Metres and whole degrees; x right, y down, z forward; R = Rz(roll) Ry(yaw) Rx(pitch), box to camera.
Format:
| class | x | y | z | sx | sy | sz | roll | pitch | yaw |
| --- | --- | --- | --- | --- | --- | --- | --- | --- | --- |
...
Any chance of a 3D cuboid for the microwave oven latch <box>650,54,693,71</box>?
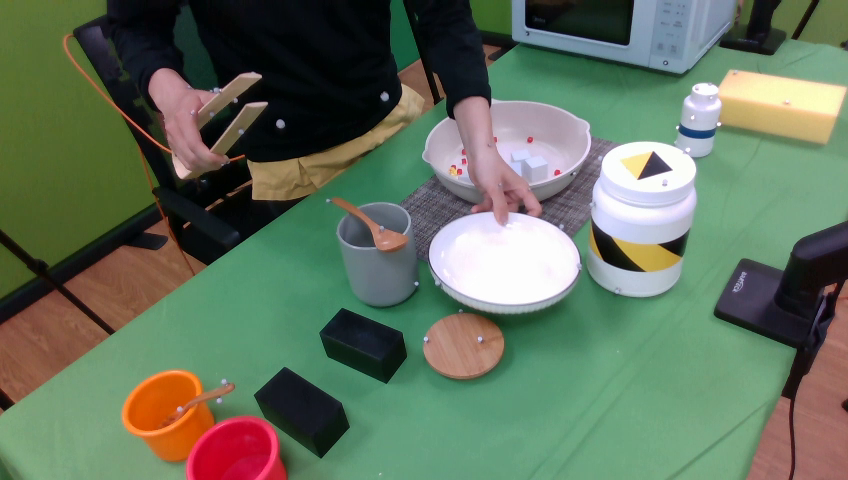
| class | x | y | z | sx | sy | sz | roll | pitch | yaw |
| --- | --- | --- | --- | --- | --- | --- | --- | --- | --- |
| microwave oven latch | 0.531 | -0.386 | 1.301 | 0.078 | 0.029 | 0.030 | 26 | 51 | 33 |

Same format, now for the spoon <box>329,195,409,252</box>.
| class | x | y | z | sx | sy | sz | roll | pitch | yaw |
| --- | --- | --- | --- | --- | --- | --- | --- | --- | --- |
| spoon | -0.082 | -0.029 | 0.828 | 0.042 | 0.022 | 0.192 | -33 | 43 | -19 |

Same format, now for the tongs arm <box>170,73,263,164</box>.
| class | x | y | z | sx | sy | sz | roll | pitch | yaw |
| --- | --- | --- | --- | --- | --- | --- | --- | --- | --- |
| tongs arm | -0.284 | -0.149 | 0.800 | 0.027 | 0.051 | 0.382 | -17 | 8 | -33 |

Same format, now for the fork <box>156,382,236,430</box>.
| class | x | y | z | sx | sy | sz | roll | pitch | yaw |
| --- | --- | --- | --- | --- | --- | --- | --- | --- | --- |
| fork | -0.262 | 0.189 | 0.690 | 0.018 | 0.206 | 0.028 | 49 | 43 | -6 |

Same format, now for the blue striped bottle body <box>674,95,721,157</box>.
| class | x | y | z | sx | sy | sz | roll | pitch | yaw |
| --- | --- | --- | --- | --- | --- | --- | --- | --- | --- |
| blue striped bottle body | 0.486 | -0.213 | 1.071 | 0.063 | 0.121 | 0.063 | -4 | 41 | 4 |

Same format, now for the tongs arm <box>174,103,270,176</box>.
| class | x | y | z | sx | sy | sz | roll | pitch | yaw |
| --- | --- | --- | --- | --- | --- | --- | --- | --- | --- |
| tongs arm | -0.279 | -0.127 | 0.801 | 0.028 | 0.028 | 0.385 | -21 | 6 | -33 |

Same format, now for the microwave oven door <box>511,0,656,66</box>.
| class | x | y | z | sx | sy | sz | roll | pitch | yaw |
| --- | --- | --- | --- | --- | --- | --- | --- | --- | --- |
| microwave oven door | 0.351 | -0.539 | 1.348 | 0.353 | 0.245 | 0.039 | 24 | 50 | 31 |

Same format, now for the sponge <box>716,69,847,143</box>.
| class | x | y | z | sx | sy | sz | roll | pitch | yaw |
| --- | --- | --- | --- | --- | --- | --- | --- | --- | --- |
| sponge | 0.663 | -0.256 | 1.142 | 0.205 | 0.061 | 0.118 | 19 | 47 | 28 |

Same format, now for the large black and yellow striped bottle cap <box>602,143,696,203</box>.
| class | x | y | z | sx | sy | sz | roll | pitch | yaw |
| --- | --- | --- | --- | --- | --- | --- | --- | --- | --- |
| large black and yellow striped bottle cap | 0.289 | -0.088 | 0.778 | 0.115 | 0.019 | 0.114 | -4 | 40 | 4 |

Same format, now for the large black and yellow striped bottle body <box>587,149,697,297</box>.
| class | x | y | z | sx | sy | sz | roll | pitch | yaw |
| --- | --- | --- | --- | --- | --- | --- | --- | --- | --- |
| large black and yellow striped bottle body | 0.298 | -0.026 | 0.835 | 0.131 | 0.185 | 0.130 | -4 | 41 | 4 |

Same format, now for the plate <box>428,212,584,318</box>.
| class | x | y | z | sx | sy | sz | roll | pitch | yaw |
| --- | --- | --- | --- | --- | --- | --- | --- | --- | --- |
| plate | 0.109 | 0.035 | 0.818 | 0.208 | 0.039 | 0.206 | 0 | 37 | 0 |

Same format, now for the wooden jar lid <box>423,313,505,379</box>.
| class | x | y | z | sx | sy | sz | roll | pitch | yaw |
| --- | --- | --- | --- | --- | --- | --- | --- | --- | --- |
| wooden jar lid | 0.053 | 0.142 | 0.800 | 0.108 | 0.021 | 0.108 | -4 | 38 | 4 |

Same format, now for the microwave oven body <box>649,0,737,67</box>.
| class | x | y | z | sx | sy | sz | roll | pitch | yaw |
| --- | --- | --- | --- | --- | --- | --- | --- | --- | --- |
| microwave oven body | 0.475 | -0.602 | 1.411 | 0.438 | 0.261 | 0.327 | 23 | 50 | 32 |

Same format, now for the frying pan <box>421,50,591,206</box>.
| class | x | y | z | sx | sy | sz | roll | pitch | yaw |
| --- | --- | --- | --- | --- | --- | --- | --- | --- | --- |
| frying pan | 0.127 | -0.233 | 1.155 | 0.307 | 0.103 | 0.484 | -11 | 49 | -5 |

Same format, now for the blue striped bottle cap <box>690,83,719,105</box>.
| class | x | y | z | sx | sy | sz | roll | pitch | yaw |
| --- | --- | --- | --- | --- | --- | --- | --- | --- | --- |
| blue striped bottle cap | 0.481 | -0.251 | 1.038 | 0.044 | 0.021 | 0.044 | -5 | 39 | 5 |

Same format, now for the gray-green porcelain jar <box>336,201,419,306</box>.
| class | x | y | z | sx | sy | sz | roll | pitch | yaw |
| --- | --- | --- | --- | --- | --- | --- | --- | --- | --- |
| gray-green porcelain jar | -0.064 | 0.024 | 0.872 | 0.106 | 0.127 | 0.105 | -4 | 41 | 4 |
